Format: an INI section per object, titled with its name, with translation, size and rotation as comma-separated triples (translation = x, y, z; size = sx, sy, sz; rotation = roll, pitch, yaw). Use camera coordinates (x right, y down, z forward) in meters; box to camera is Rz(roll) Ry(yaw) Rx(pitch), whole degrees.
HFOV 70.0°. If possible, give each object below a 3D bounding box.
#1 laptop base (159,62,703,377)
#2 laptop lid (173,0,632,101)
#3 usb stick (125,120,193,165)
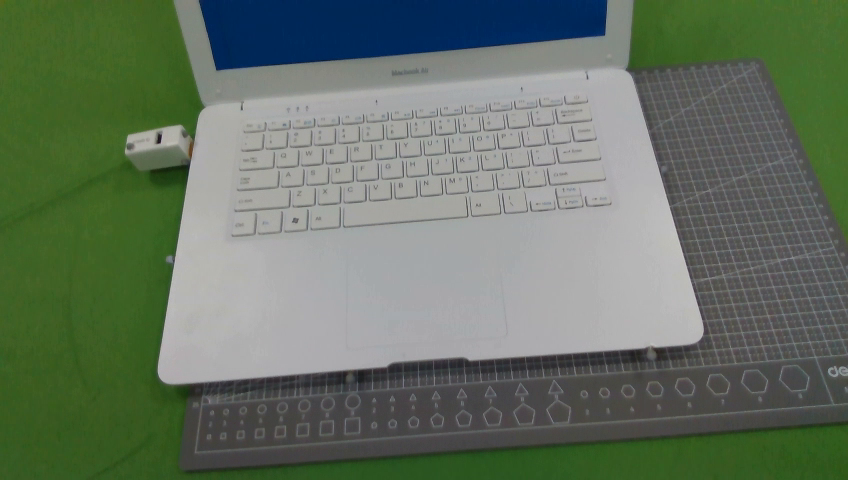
[laptop base]
translation = -0.003, -0.025, 0.445
size = 0.354, 0.023, 0.233
rotation = -5, 63, 2
[laptop lid]
translation = -0.020, -0.226, 0.442
size = 0.357, 0.244, 0.013
rotation = -6, 31, 2
[usb stick]
translation = -0.200, -0.077, 0.477
size = 0.059, 0.027, 0.021
rotation = -7, 59, 2
